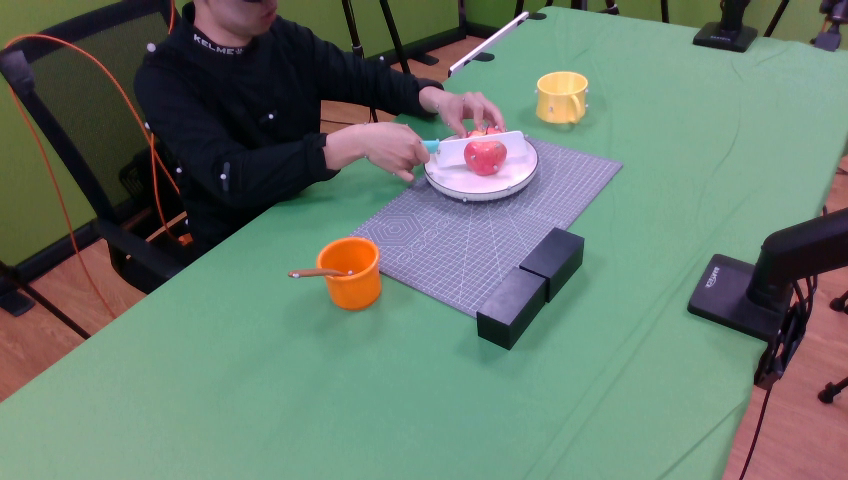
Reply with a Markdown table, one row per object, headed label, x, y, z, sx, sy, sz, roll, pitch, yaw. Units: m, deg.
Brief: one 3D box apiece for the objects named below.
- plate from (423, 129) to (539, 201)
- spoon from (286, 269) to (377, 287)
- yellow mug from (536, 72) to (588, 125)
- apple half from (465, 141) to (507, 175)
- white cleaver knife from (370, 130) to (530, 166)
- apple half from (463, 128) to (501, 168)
| label | x | y | z | sx | sy | sz | roll | pitch | yaw |
| --- | --- | --- | --- | --- | --- | --- | --- | --- | --- |
| plate | 0.103 | -0.132 | 1.092 | 0.209 | 0.038 | 0.208 | -4 | 40 | 4 |
| spoon | -0.125 | 0.050 | 0.831 | 0.041 | 0.195 | 0.021 | 21 | 92 | 28 |
| yellow mug | 0.285 | -0.281 | 1.222 | 0.100 | 0.064 | 0.130 | -16 | 42 | -9 |
| apple half | 0.108 | -0.138 | 1.059 | 0.081 | 0.081 | 0.032 | -1 | 47 | 7 |
| white cleaver knife | 0.042 | -0.154 | 1.069 | 0.286 | 0.066 | 0.021 | -3 | 47 | 13 |
| apple half | 0.108 | -0.164 | 1.084 | 0.081 | 0.075 | 0.053 | -4 | 27 | -1 |
